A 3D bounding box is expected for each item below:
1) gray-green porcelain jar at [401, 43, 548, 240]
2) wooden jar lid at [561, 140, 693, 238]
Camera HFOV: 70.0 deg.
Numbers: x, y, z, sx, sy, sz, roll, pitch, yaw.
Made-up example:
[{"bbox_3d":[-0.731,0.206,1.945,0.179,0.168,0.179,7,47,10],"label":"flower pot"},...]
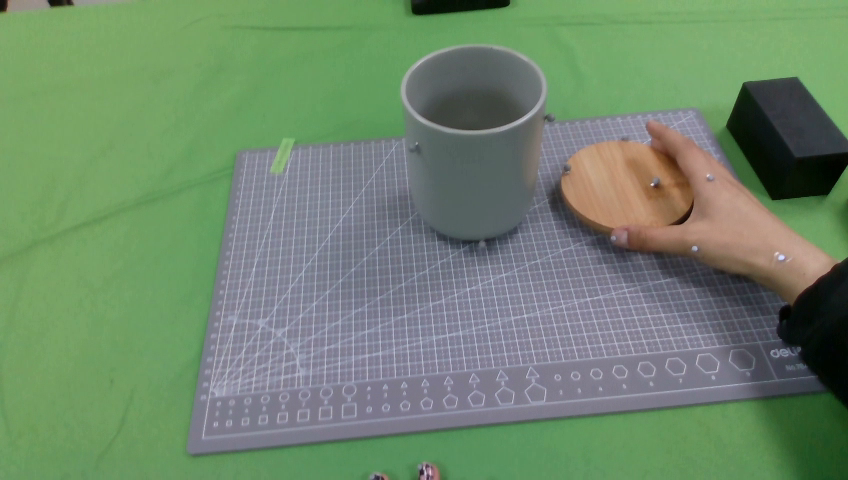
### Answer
[{"bbox_3d":[0.039,-0.071,0.478,0.106,0.127,0.105,-1,51,2],"label":"gray-green porcelain jar"},{"bbox_3d":[0.171,-0.043,0.517,0.108,0.021,0.107,-2,50,3],"label":"wooden jar lid"}]
